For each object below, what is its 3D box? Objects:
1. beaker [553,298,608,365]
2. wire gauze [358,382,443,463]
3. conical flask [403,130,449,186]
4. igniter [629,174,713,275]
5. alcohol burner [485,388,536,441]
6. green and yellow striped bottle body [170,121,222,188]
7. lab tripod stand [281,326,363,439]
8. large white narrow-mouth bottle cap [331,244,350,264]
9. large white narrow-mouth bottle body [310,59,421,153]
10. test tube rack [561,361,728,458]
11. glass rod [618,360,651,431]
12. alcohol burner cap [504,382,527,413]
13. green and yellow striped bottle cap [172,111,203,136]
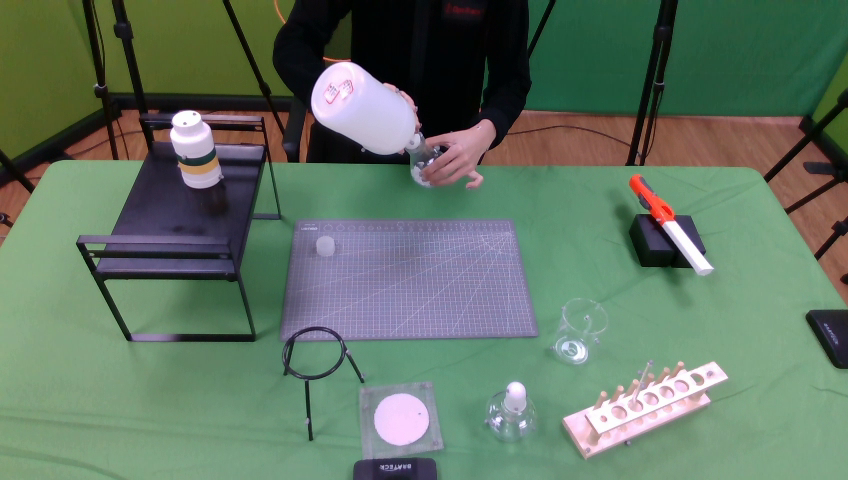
[{"bbox_3d":[0.260,0.154,1.014,0.073,0.101,0.084,37,54,27],"label":"beaker"},{"bbox_3d":[-0.039,0.276,0.937,0.121,0.011,0.124,-4,47,-7],"label":"wire gauze"},{"bbox_3d":[-0.003,-0.148,1.063,0.075,0.122,0.075,-4,73,14],"label":"conical flask"},{"bbox_3d":[0.481,-0.040,1.202,0.057,0.025,0.274,-2,46,-21],"label":"igniter"},{"bbox_3d":[0.131,0.249,0.904,0.078,0.120,0.077,1,48,-1],"label":"alcohol burner"},{"bbox_3d":[-0.375,-0.149,0.995,0.063,0.120,0.063,2,46,-2],"label":"green and yellow striped bottle body"},{"bbox_3d":[-0.166,0.203,0.913,0.148,0.132,0.147,1,47,-1],"label":"lab tripod stand"},{"bbox_3d":[-0.160,0.026,1.161,0.038,0.024,0.037,4,46,-4],"label":"large white narrow-mouth bottle cap"},{"bbox_3d":[-0.075,-0.190,0.932,0.196,0.102,0.101,24,25,-49],"label":"large white narrow-mouth bottle body"},{"bbox_3d":[0.341,0.248,0.940,0.243,0.085,0.066,-15,49,-18],"label":"test tube rack"},{"bbox_3d":[0.298,0.227,0.865,0.008,0.201,0.008,-2,48,2],"label":"glass rod"},{"bbox_3d":[0.132,0.225,0.877,0.034,0.048,0.033,-4,47,4],"label":"alcohol burner cap"},{"bbox_3d":[-0.374,-0.185,0.957,0.045,0.020,0.045,3,45,-3],"label":"green and yellow striped bottle cap"}]
